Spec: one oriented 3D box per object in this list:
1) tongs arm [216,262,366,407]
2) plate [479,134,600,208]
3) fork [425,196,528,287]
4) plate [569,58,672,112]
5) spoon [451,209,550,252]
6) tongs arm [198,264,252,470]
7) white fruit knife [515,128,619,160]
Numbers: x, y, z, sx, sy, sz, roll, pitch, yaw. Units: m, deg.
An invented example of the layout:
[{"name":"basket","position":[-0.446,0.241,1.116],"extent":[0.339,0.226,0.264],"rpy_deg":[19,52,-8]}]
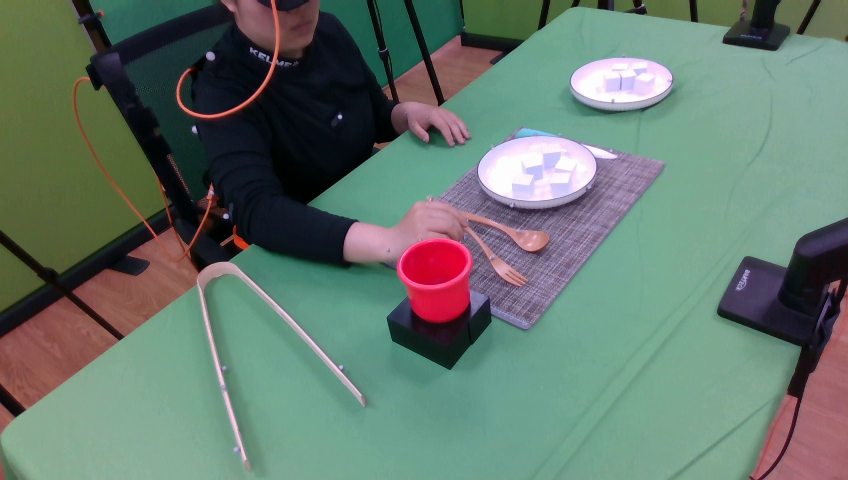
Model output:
[{"name":"tongs arm","position":[-0.201,0.121,0.871],"extent":[0.028,0.028,0.384],"rpy_deg":[-36,46,-24]},{"name":"plate","position":[0.202,-0.117,1.065],"extent":[0.207,0.039,0.206],"rpy_deg":[-5,40,5]},{"name":"fork","position":[0.076,0.000,0.914],"extent":[0.206,0.018,0.028],"rpy_deg":[45,52,14]},{"name":"plate","position":[0.411,-0.323,1.274],"extent":[0.209,0.038,0.208],"rpy_deg":[-5,41,5]},{"name":"spoon","position":[0.119,-0.022,0.979],"extent":[0.192,0.022,0.041],"rpy_deg":[24,68,33]},{"name":"tongs arm","position":[-0.270,0.154,0.840],"extent":[0.051,0.026,0.381],"rpy_deg":[-23,41,-17]},{"name":"white fruit knife","position":[0.269,-0.182,1.148],"extent":[0.206,0.016,0.027],"rpy_deg":[21,77,29]}]
